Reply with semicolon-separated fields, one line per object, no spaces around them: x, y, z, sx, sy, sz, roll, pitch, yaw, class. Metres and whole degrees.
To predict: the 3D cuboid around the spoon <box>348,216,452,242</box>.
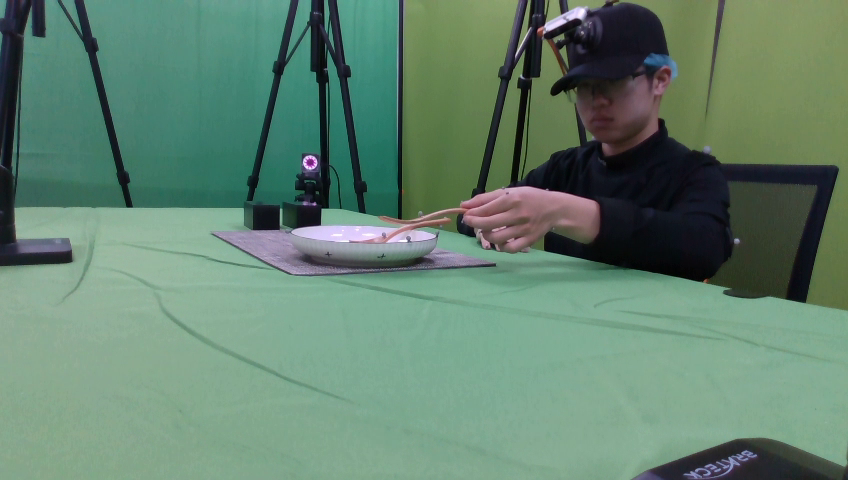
-0.030;-0.015;0.923;0.195;0.021;0.041;-19;15;-36;spoon

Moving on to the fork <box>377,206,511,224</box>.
0.034;-0.035;0.826;0.208;0.018;0.028;-7;-2;-28;fork

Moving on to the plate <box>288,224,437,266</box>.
-0.086;0.007;0.852;0.208;0.039;0.207;2;7;0;plate
